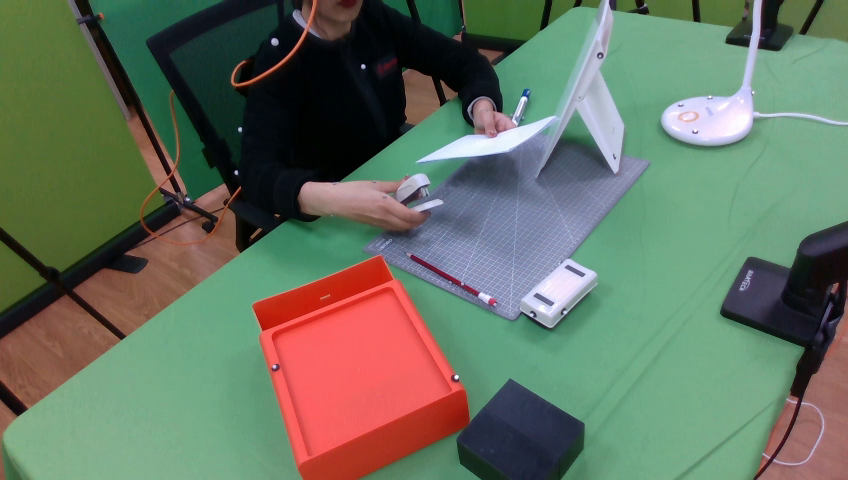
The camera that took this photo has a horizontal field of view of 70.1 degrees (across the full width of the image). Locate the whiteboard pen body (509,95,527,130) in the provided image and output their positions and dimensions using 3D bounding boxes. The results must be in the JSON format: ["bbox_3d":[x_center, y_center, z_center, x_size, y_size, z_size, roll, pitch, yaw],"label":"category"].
[{"bbox_3d":[0.199,-0.273,1.262,0.017,0.017,0.140,7,44,18],"label":"whiteboard pen body"}]

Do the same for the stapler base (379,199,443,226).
[{"bbox_3d":[-0.025,-0.051,0.982,0.041,0.024,0.130,-20,1,-43],"label":"stapler base"}]

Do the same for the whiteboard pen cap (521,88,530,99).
[{"bbox_3d":[0.219,-0.312,1.301,0.018,0.018,0.033,6,47,17],"label":"whiteboard pen cap"}]

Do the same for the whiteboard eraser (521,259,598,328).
[{"bbox_3d":[0.189,0.076,0.843,0.055,0.042,0.113,29,53,37],"label":"whiteboard eraser"}]

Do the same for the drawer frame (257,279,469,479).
[{"bbox_3d":[-0.080,0.169,0.751,0.202,0.083,0.211,-21,42,-15],"label":"drawer frame"}]

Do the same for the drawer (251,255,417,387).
[{"bbox_3d":[-0.106,0.135,0.798,0.195,0.073,0.210,-20,42,-14],"label":"drawer"}]

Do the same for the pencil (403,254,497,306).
[{"bbox_3d":[0.034,0.056,0.914,0.192,0.012,0.012,27,52,38],"label":"pencil"}]

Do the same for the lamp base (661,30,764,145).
[{"bbox_3d":[0.535,-0.287,1.096,0.179,0.181,0.159,-10,40,-4],"label":"lamp base"}]

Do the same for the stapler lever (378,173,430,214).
[{"bbox_3d":[-0.035,-0.075,0.982,0.027,0.040,0.117,-20,0,-43],"label":"stapler lever"}]

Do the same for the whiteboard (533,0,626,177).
[{"bbox_3d":[0.321,-0.258,1.050,0.144,0.306,0.217,21,45,5],"label":"whiteboard"}]
